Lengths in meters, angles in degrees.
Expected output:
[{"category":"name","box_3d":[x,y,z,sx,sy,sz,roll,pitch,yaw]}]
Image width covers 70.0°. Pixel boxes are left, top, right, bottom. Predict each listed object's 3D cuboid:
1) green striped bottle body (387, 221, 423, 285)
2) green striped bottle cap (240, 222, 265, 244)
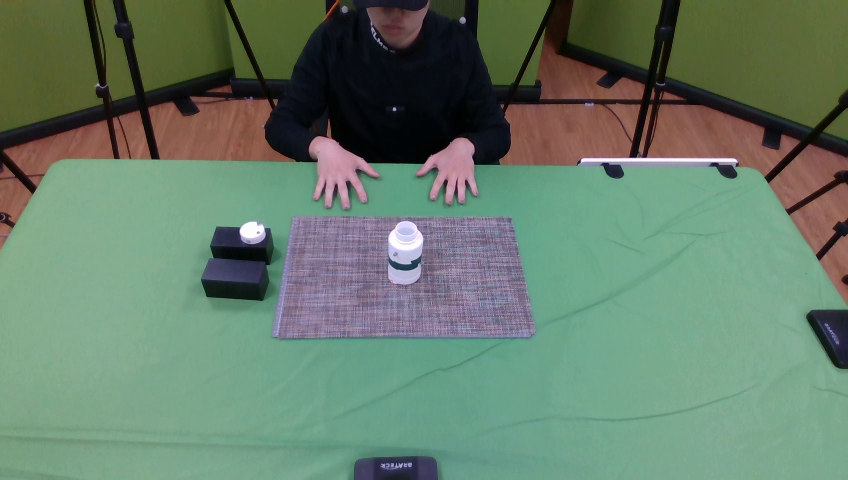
[{"category":"green striped bottle body","box_3d":[-0.035,0.021,1.103,0.063,0.120,0.063,2,46,-2]},{"category":"green striped bottle cap","box_3d":[-0.318,-0.013,1.123,0.044,0.020,0.044,1,46,0]}]
